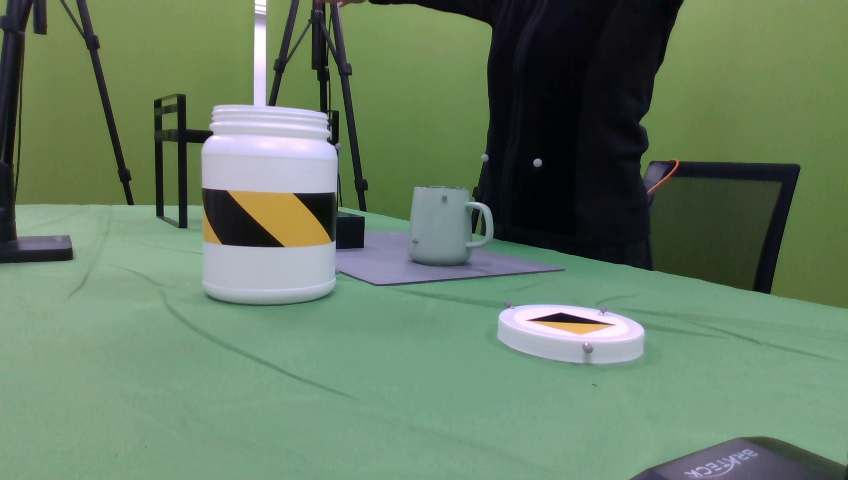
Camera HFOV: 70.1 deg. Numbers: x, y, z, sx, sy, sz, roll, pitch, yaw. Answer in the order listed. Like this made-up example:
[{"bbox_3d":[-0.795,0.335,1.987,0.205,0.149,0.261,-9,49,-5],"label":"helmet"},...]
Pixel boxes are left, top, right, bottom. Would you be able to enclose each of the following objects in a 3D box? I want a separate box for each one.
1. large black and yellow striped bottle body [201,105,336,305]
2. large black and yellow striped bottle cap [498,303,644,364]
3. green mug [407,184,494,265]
[{"bbox_3d":[-0.154,-0.037,0.606,0.131,0.184,0.130,2,8,0],"label":"large black and yellow striped bottle body"},{"bbox_3d":[0.117,0.072,0.487,0.115,0.019,0.115,1,8,0],"label":"large black and yellow striped bottle cap"},{"bbox_3d":[0.038,-0.021,0.827,0.125,0.105,0.093,6,8,30],"label":"green mug"}]
